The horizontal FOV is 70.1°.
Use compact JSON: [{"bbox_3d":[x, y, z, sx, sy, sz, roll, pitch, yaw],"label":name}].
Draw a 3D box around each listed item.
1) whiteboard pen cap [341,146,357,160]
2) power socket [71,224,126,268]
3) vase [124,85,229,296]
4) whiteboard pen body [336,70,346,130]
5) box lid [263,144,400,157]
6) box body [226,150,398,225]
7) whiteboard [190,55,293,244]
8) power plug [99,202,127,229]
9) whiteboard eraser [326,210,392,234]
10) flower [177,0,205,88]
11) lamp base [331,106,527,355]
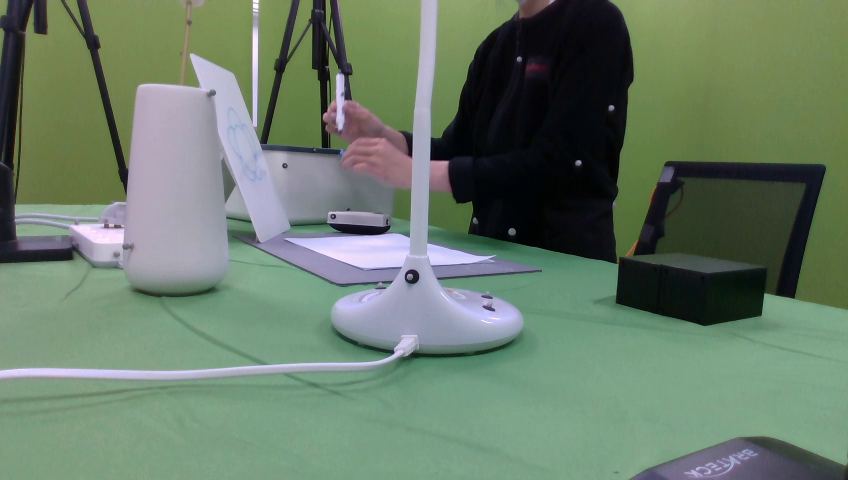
[{"bbox_3d":[-0.130,-0.151,1.044,0.018,0.018,0.033,-3,29,-36],"label":"whiteboard pen cap"},{"bbox_3d":[-0.409,0.004,0.793,0.072,0.032,0.225,-2,8,-37],"label":"power socket"},{"bbox_3d":[-0.244,-0.047,0.598,0.098,0.200,0.098,3,8,0],"label":"vase"},{"bbox_3d":[-0.149,-0.252,1.092,0.017,0.140,0.017,-5,-30,-3],"label":"whiteboard pen body"},{"bbox_3d":[-0.263,-0.203,1.369,0.262,0.015,0.373,9,10,39],"label":"box lid"},{"bbox_3d":[-0.265,-0.129,1.380,0.253,0.160,0.366,8,9,39],"label":"box body"},{"bbox_3d":[-0.362,-0.129,1.029,0.144,0.305,0.217,-18,7,3],"label":"whiteboard"},{"bbox_3d":[-0.415,-0.026,0.848,0.073,0.052,0.035,6,5,-28],"label":"power plug"},{"bbox_3d":[-0.121,-0.033,1.131,0.112,0.042,0.056,4,8,13],"label":"whiteboard eraser"},{"bbox_3d":[-0.243,-0.131,0.609,0.044,0.361,0.038,-5,-12,12],"label":"flower"},{"bbox_3d":[0.006,-0.012,0.478,0.161,0.180,0.179,2,10,2],"label":"lamp base"}]
